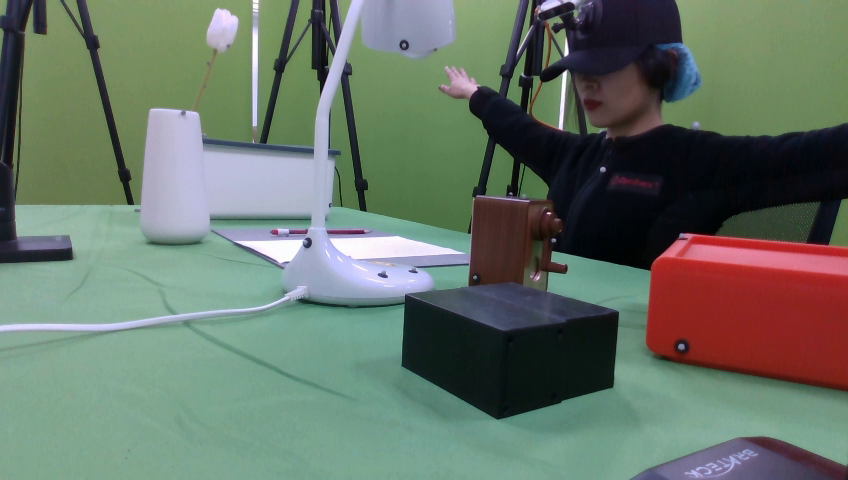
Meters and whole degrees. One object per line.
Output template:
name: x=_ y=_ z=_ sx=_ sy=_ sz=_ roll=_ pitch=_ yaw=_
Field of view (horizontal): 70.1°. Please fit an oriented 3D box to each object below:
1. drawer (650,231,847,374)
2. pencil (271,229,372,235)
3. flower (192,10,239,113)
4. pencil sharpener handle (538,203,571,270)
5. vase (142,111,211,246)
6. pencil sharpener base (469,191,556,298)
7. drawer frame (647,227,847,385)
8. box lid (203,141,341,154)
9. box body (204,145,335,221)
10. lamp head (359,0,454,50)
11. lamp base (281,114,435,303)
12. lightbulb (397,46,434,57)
drawer: x=0.303 y=0.044 z=0.499 sx=0.194 sy=0.073 sz=0.212 roll=7 pitch=10 yaw=27
pencil: x=-0.178 y=-0.014 z=1.081 sx=0.195 sy=0.012 sz=0.012 roll=0 pitch=8 yaw=-34
flower: x=-0.354 y=-0.174 z=0.915 sx=0.038 sy=0.361 sz=0.044 roll=18 pitch=-3 yaw=12
pencil sharpener handle: x=0.137 y=-0.003 z=0.619 sx=0.030 sy=0.067 sz=0.036 roll=8 pitch=5 yaw=38
vase: x=-0.378 y=-0.093 z=0.920 sx=0.098 sy=0.200 sz=0.098 roll=2 pitch=9 yaw=0
pencil sharpener base: x=0.098 y=0.003 z=0.652 sx=0.076 sy=0.107 sz=0.061 roll=8 pitch=9 yaw=38
drawer frame: x=0.303 y=0.043 z=0.495 sx=0.201 sy=0.082 sz=0.214 roll=6 pitch=9 yaw=26
box lid: x=-0.396 y=-0.212 z=1.373 sx=0.373 sy=0.015 sz=0.262 roll=-1 pitch=9 yaw=-29
box body: x=-0.411 y=-0.135 z=1.386 sx=0.366 sy=0.160 sz=0.253 roll=-2 pitch=9 yaw=-29
lamp head: x=-0.024 y=-0.283 z=0.674 sx=0.112 sy=0.123 sz=0.112 roll=-3 pitch=38 yaw=3
lamp base: x=-0.071 y=-0.035 z=0.614 sx=0.160 sy=0.180 sz=0.180 roll=6 pitch=10 yaw=27
lightbulb: x=-0.017 y=-0.264 z=0.691 sx=0.059 sy=0.108 sz=0.059 roll=-9 pitch=29 yaw=5
